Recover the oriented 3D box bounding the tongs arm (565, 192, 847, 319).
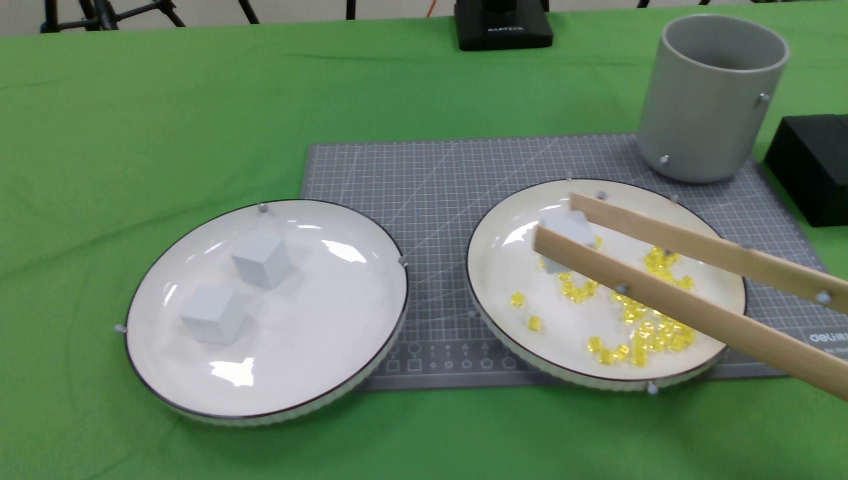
[{"bbox_3d":[0.245,0.052,0.332,0.382,0.027,0.050,22,51,27],"label":"tongs arm"}]

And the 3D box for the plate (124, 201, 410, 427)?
[{"bbox_3d":[-0.114,0.052,0.463,0.209,0.038,0.207,-2,45,2],"label":"plate"}]

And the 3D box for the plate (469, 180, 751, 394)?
[{"bbox_3d":[0.139,0.033,0.474,0.208,0.039,0.205,-1,45,1],"label":"plate"}]

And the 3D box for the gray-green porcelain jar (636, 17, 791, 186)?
[{"bbox_3d":[0.259,-0.123,0.561,0.106,0.127,0.105,-1,45,1],"label":"gray-green porcelain jar"}]

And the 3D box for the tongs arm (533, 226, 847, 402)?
[{"bbox_3d":[0.227,0.069,0.317,0.384,0.028,0.028,25,49,29],"label":"tongs arm"}]
